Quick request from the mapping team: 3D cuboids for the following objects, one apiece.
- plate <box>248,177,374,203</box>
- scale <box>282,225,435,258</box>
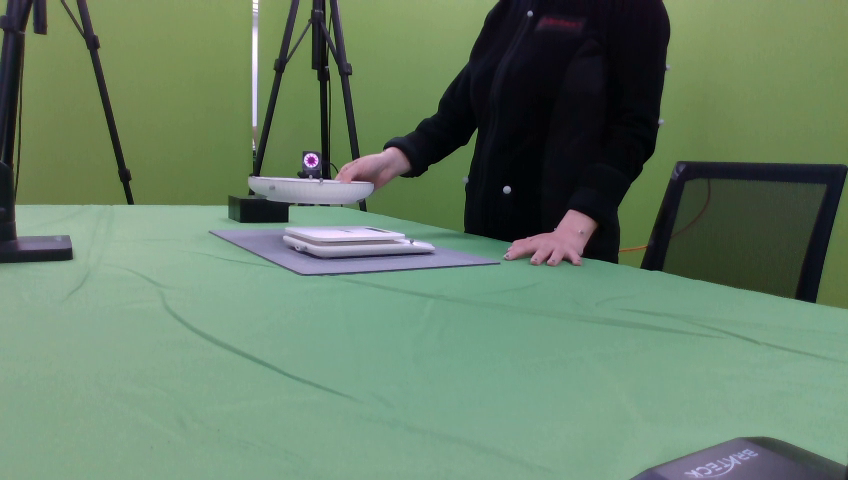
[{"bbox_3d":[-0.189,-0.085,1.021,0.209,0.038,0.209,2,6,0],"label":"plate"},{"bbox_3d":[-0.098,0.000,0.915,0.202,0.031,0.148,-2,9,-33],"label":"scale"}]
